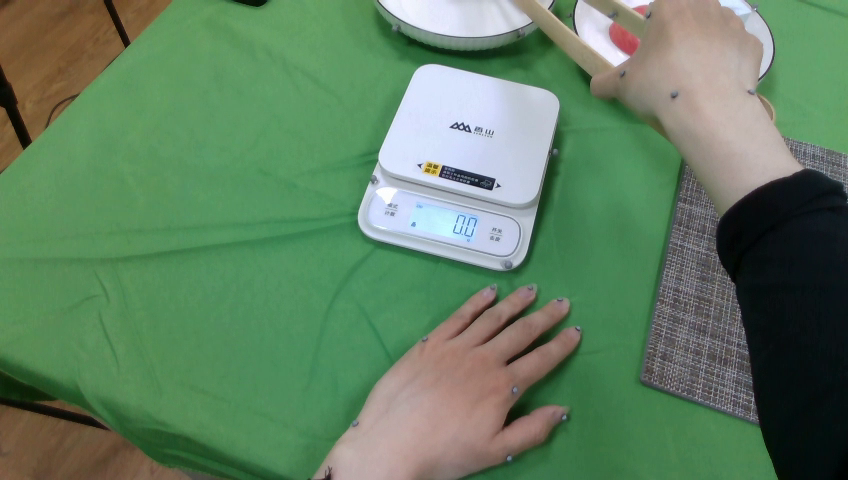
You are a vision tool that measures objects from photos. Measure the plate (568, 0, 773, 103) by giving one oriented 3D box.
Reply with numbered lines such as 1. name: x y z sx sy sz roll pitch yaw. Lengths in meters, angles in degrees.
1. plate: 0.254 -0.215 0.640 0.209 0.038 0.207 1 57 -1

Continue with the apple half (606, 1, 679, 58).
1. apple half: 0.238 -0.230 0.643 0.081 0.033 0.080 0 54 1

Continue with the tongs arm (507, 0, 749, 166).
1. tongs arm: 0.140 -0.175 0.538 0.028 0.028 0.383 -22 45 -7

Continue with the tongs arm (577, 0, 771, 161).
1. tongs arm: 0.167 -0.187 0.539 0.051 0.027 0.380 -26 46 -6

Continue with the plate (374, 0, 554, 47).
1. plate: 0.042 -0.282 0.675 0.208 0.039 0.205 1 58 -1

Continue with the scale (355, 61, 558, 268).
1. scale: 0.034 -0.076 0.548 0.148 0.032 0.199 14 59 7
